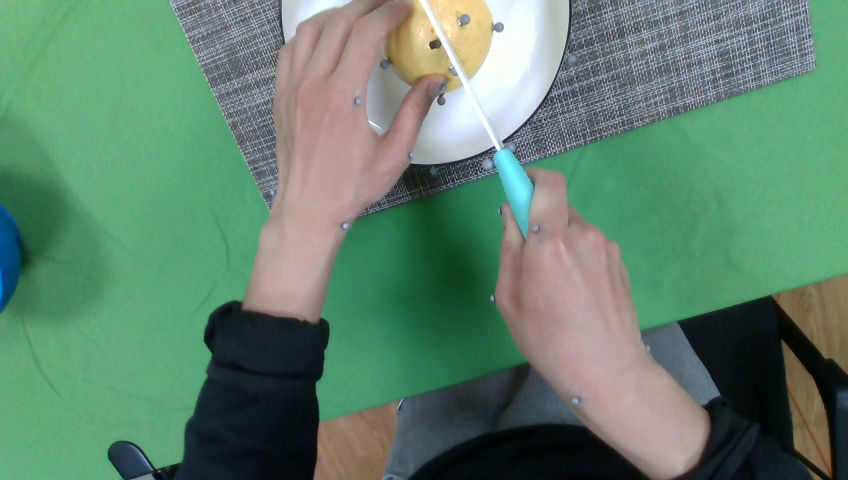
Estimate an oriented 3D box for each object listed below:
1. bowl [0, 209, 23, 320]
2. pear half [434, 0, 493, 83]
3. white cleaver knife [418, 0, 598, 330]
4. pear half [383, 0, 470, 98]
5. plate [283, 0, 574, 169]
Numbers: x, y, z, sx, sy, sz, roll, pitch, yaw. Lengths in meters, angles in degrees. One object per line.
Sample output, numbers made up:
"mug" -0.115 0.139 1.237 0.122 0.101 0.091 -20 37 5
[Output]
"bowl" -0.412 0.010 0.525 0.151 0.076 0.152 1 111 3
"pear half" 0.029 -0.146 0.412 0.031 0.087 0.071 -26 107 13
"white cleaver knife" 0.041 -0.067 0.364 0.021 0.065 0.288 -24 107 14
"pear half" -0.001 -0.130 0.410 0.056 0.109 0.077 -22 106 11
"plate" 0.003 -0.158 0.447 0.207 0.039 0.209 1 112 4
